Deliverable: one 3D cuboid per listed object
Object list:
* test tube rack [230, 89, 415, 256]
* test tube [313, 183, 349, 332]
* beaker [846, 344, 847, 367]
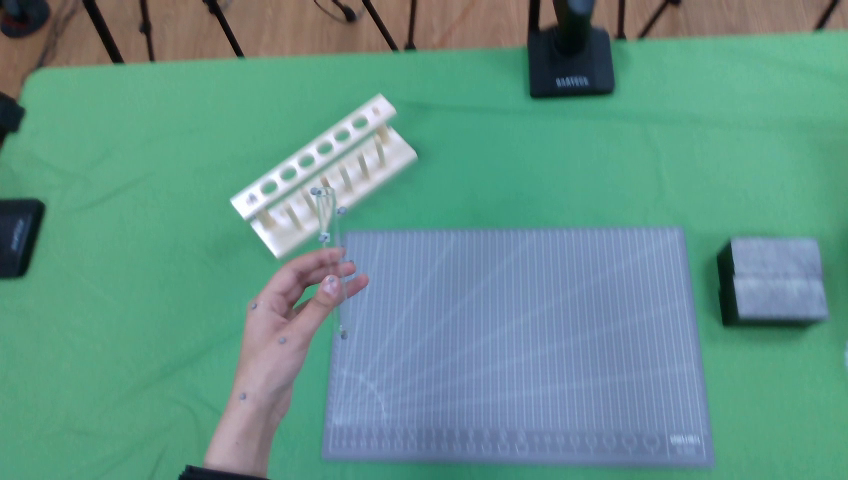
[{"bbox_3d":[-0.129,-0.089,0.814,0.242,0.086,0.066,-38,69,-10],"label":"test tube rack"},{"bbox_3d":[-0.077,0.020,0.513,0.017,0.151,0.017,-1,34,1],"label":"test tube"},{"bbox_3d":[0.335,0.071,0.395,0.083,0.101,0.074,40,75,19],"label":"beaker"}]
